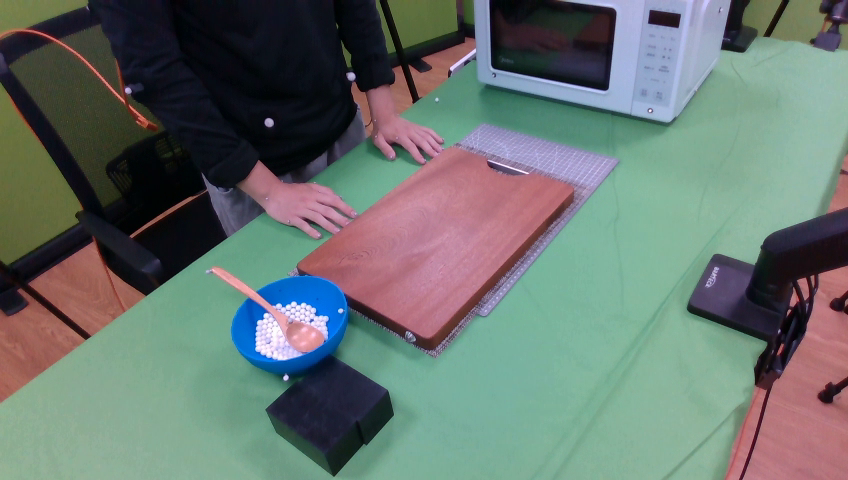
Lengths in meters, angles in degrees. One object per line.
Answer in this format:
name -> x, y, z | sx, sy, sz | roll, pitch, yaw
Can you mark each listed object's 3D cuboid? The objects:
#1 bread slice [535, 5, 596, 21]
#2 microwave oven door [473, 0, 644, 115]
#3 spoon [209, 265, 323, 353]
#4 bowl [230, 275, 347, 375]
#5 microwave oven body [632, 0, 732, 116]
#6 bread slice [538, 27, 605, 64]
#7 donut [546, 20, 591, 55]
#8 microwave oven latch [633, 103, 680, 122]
bread slice -> 0.303, -0.481, 1.278 | 0.106, 0.018, 0.134 | 10, 29, 23
microwave oven door -> 0.257, -0.396, 1.199 | 0.353, 0.245, 0.039 | 21, 48, 29
spoon -> -0.213, 0.087, 0.806 | 0.193, 0.021, 0.042 | 37, 56, 11
bowl -> -0.171, 0.125, 0.802 | 0.151, 0.077, 0.150 | -4, 40, 4
microwave oven body -> 0.377, -0.462, 1.267 | 0.438, 0.261, 0.327 | 21, 48, 30
bread slice -> 0.332, -0.435, 1.339 | 0.132, 0.019, 0.104 | -41, 44, -22
donut -> 0.311, -0.436, 1.299 | 0.099, 0.048, 0.098 | -21, 35, 16
microwave oven latch -> 0.444, -0.249, 1.157 | 0.078, 0.029, 0.030 | 21, 48, 30
